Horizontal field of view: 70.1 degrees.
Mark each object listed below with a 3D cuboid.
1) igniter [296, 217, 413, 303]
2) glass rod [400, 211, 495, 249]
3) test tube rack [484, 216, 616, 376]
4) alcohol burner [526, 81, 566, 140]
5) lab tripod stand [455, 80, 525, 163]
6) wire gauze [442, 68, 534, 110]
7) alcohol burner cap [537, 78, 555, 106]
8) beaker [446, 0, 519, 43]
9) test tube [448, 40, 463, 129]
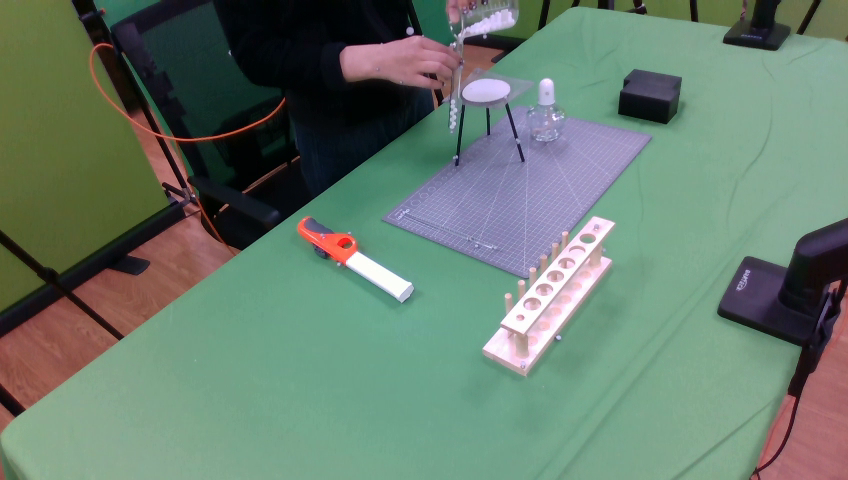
[{"bbox_3d":[-0.121,0.025,0.970,0.274,0.025,0.057,29,63,37],"label":"igniter"},{"bbox_3d":[0.035,-0.018,1.001,0.198,0.008,0.008,21,49,35],"label":"glass rod"},{"bbox_3d":[0.174,0.064,0.823,0.066,0.085,0.243,23,49,32],"label":"test tube rack"},{"bbox_3d":[0.234,-0.252,1.159,0.078,0.119,0.077,-4,42,4],"label":"alcohol burner"},{"bbox_3d":[0.120,-0.219,1.126,0.148,0.132,0.147,-4,39,4],"label":"lab tripod stand"},{"bbox_3d":[0.114,-0.269,1.081,0.120,0.011,0.125,21,48,29],"label":"wire gauze"},{"bbox_3d":[0.229,-0.279,1.136,0.034,0.048,0.033,-6,33,4],"label":"alcohol burner cap"},{"bbox_3d":[0.095,-0.366,0.972,0.100,0.084,0.073,-15,32,-11],"label":"beaker"},{"bbox_3d":[0.053,-0.260,1.022,0.017,0.150,0.017,2,31,-1],"label":"test tube"}]
